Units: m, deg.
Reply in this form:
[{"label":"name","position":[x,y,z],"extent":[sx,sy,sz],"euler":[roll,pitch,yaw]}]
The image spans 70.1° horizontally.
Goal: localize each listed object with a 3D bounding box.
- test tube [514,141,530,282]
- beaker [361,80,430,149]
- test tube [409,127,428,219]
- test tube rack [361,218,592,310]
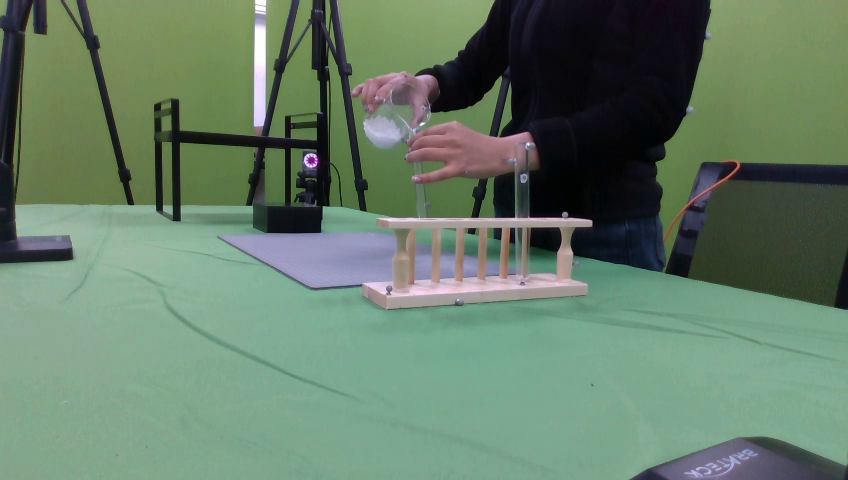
[{"label":"test tube","position":[0.103,-0.028,0.636],"extent":[0.017,0.150,0.017],"euler":[-2,12,1]},{"label":"beaker","position":[-0.048,-0.192,0.960],"extent":[0.074,0.084,0.100],"euler":[1,-17,-35]},{"label":"test tube","position":[-0.009,-0.096,0.895],"extent":[0.017,0.150,0.017],"euler":[-6,-14,-1]},{"label":"test tube rack","position":[0.059,0.018,0.640],"extent":[0.243,0.085,0.066],"euler":[-1,8,-27]}]
